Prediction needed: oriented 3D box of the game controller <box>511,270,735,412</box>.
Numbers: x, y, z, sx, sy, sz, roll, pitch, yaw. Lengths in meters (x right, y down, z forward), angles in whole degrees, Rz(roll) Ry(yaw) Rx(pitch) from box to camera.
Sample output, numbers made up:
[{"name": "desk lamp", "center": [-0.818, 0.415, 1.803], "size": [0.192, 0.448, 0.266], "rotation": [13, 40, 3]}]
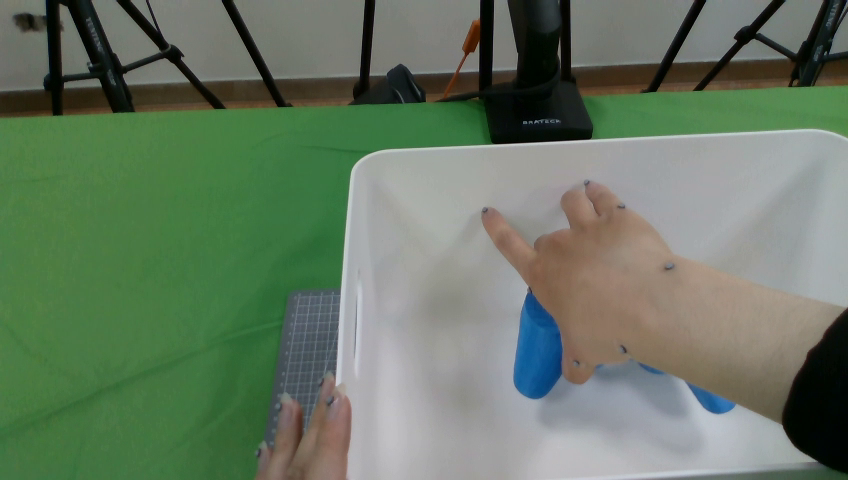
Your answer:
[{"name": "game controller", "center": [0.144, 0.068, 0.442], "size": [0.155, 0.052, 0.096], "rotation": [4, 51, 7]}]

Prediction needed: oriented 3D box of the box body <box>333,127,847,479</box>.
[{"name": "box body", "center": [0.136, 0.068, 0.407], "size": [0.364, 0.162, 0.251], "rotation": [-3, 44, -1]}]
